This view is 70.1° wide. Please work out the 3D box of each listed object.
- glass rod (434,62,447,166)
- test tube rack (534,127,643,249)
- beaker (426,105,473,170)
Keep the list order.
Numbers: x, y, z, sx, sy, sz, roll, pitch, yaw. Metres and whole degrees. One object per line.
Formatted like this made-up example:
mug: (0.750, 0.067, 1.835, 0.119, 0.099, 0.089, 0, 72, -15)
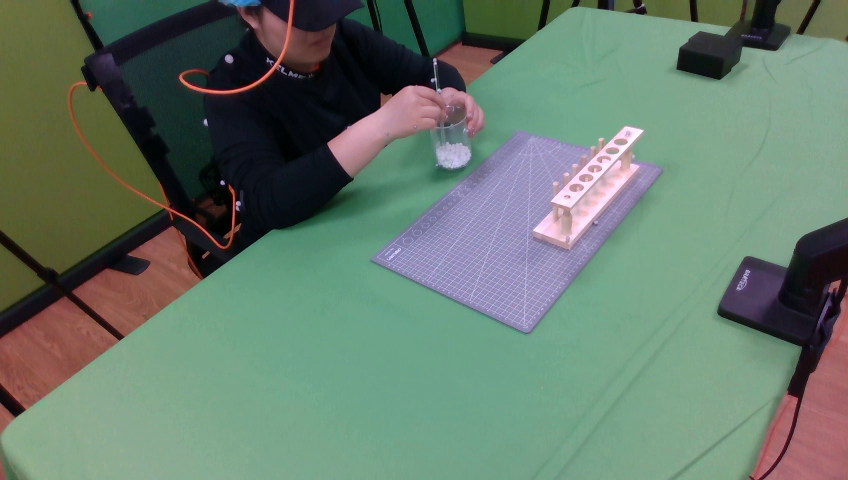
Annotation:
glass rod: (0.029, -0.219, 1.076, 0.008, 0.200, 0.008, -5, 36, 4)
test tube rack: (0.271, -0.094, 0.990, 0.066, 0.085, 0.243, 23, 50, 34)
beaker: (0.051, -0.189, 1.118, 0.073, 0.101, 0.084, 5, 45, 19)
